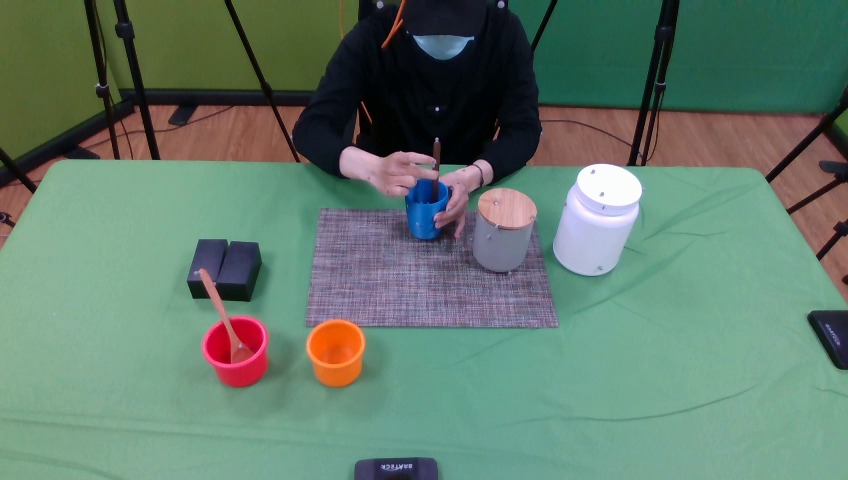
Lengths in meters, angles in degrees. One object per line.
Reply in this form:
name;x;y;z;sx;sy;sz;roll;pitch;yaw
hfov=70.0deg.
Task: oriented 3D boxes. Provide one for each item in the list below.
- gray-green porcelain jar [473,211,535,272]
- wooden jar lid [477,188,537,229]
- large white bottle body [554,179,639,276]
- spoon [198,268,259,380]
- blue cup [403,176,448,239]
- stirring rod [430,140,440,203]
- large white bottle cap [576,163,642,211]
gray-green porcelain jar;0.147;-0.010;1.139;0.106;0.127;0.105;2;46;-2
wooden jar lid;0.149;-0.054;1.094;0.108;0.021;0.107;4;45;-4
large white bottle body;0.326;-0.036;1.141;0.131;0.185;0.130;2;46;-2
spoon;-0.313;0.132;0.962;0.041;0.021;0.194;-24;96;-19
blue cup;0.003;-0.058;1.179;0.092;0.101;0.092;1;44;0
stirring rod;0.020;-0.110;1.134;0.014;0.177;0.006;-26;48;-30
large white bottle cap;0.330;-0.096;1.081;0.115;0.018;0.114;2;46;-2
